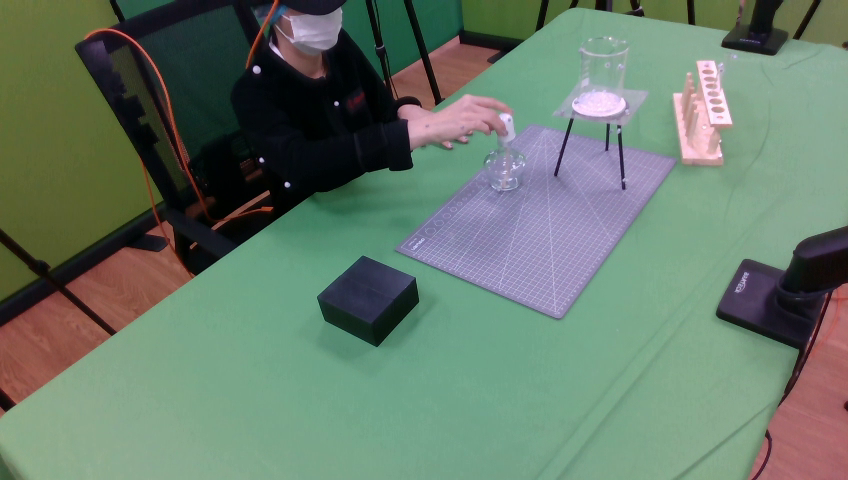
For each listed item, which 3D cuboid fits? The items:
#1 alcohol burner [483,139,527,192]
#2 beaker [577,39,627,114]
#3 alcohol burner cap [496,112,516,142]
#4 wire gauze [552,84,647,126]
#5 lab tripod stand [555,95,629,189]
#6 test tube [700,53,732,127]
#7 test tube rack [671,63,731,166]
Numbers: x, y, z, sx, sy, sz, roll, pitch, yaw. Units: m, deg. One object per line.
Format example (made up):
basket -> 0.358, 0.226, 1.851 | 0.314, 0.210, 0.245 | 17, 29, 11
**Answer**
alcohol burner -> 0.141, -0.144, 1.050 | 0.078, 0.119, 0.077 | -4, 42, 4
beaker -> 0.286, -0.264, 0.976 | 0.073, 0.100, 0.084 | 25, 49, 33
alcohol burner cap -> 0.136, -0.192, 1.007 | 0.034, 0.048, 0.033 | -7, 47, 8
wire gauze -> 0.293, -0.224, 1.004 | 0.120, 0.011, 0.125 | 19, 43, 26
lab tripod stand -> 0.300, -0.174, 1.045 | 0.148, 0.132, 0.147 | -5, 38, 5
test tube -> 0.521, -0.265, 1.081 | 0.017, 0.151, 0.017 | -3, 47, 3
test tube rack -> 0.513, -0.241, 1.132 | 0.066, 0.085, 0.242 | 4, 41, 14
